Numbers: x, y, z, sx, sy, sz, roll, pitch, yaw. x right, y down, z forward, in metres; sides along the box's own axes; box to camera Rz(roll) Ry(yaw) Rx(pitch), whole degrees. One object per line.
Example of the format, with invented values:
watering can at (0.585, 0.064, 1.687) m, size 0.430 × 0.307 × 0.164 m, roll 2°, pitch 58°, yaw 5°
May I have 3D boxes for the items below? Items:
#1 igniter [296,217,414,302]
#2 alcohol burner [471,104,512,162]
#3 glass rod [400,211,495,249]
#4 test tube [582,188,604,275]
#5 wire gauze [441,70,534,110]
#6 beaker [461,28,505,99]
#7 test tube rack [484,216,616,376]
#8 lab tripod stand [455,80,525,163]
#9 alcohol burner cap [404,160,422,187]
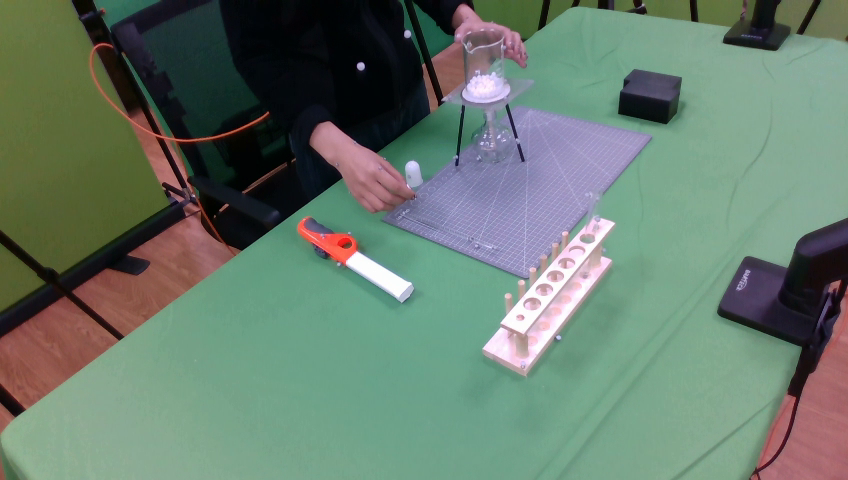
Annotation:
igniter at (-0.121, 0.025, 0.970) m, size 0.274 × 0.025 × 0.057 m, roll 29°, pitch 63°, yaw 37°
alcohol burner at (0.125, -0.207, 1.126) m, size 0.078 × 0.119 × 0.077 m, roll -5°, pitch 42°, yaw 5°
glass rod at (0.035, -0.018, 1.001) m, size 0.198 × 0.008 × 0.008 m, roll 22°, pitch 49°, yaw 35°
test tube at (0.228, -0.007, 0.821) m, size 0.017 × 0.151 × 0.017 m, roll -3°, pitch 42°, yaw 3°
wire gauze at (0.114, -0.268, 1.082) m, size 0.120 × 0.011 × 0.125 m, roll 22°, pitch 46°, yaw 29°
beaker at (0.103, -0.304, 1.051) m, size 0.073 × 0.101 × 0.084 m, roll 19°, pitch 48°, yaw 29°
test tube rack at (0.174, 0.064, 0.823) m, size 0.066 × 0.085 × 0.243 m, roll 23°, pitch 49°, yaw 32°
lab tripod stand at (0.120, -0.219, 1.126) m, size 0.148 × 0.132 × 0.147 m, roll -4°, pitch 39°, yaw 4°
alcohol burner cap at (-0.022, -0.125, 1.118) m, size 0.034 × 0.048 × 0.033 m, roll -4°, pitch 40°, yaw 4°
